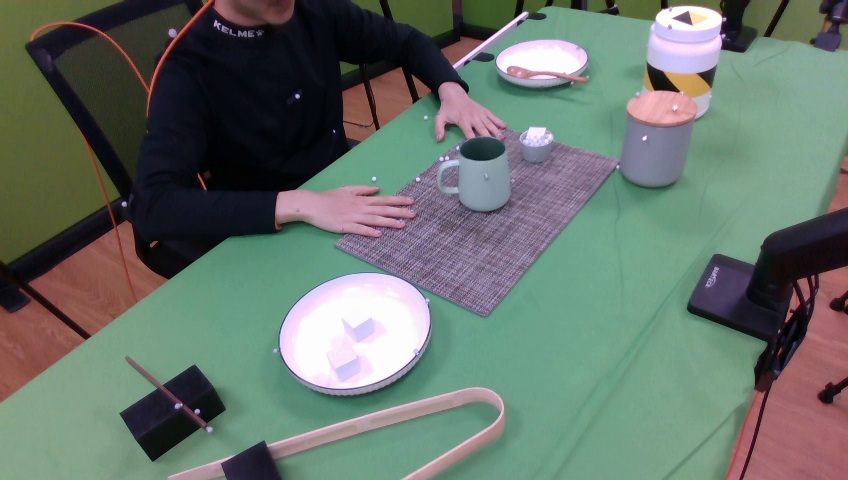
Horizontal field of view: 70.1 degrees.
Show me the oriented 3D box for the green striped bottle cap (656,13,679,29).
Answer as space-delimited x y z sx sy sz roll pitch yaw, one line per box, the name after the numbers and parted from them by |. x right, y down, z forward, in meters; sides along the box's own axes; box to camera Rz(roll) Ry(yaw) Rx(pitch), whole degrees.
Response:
0.515 -0.463 1.278 0.044 0.020 0.044 -6 42 6 | green striped bottle cap

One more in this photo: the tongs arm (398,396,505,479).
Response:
-0.071 0.272 0.652 0.386 0.026 0.050 -21 37 -17 | tongs arm

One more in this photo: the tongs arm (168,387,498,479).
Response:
-0.100 0.230 0.711 0.388 0.028 0.028 -13 32 -7 | tongs arm

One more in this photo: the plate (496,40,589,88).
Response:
0.268 -0.397 1.381 0.209 0.038 0.208 -4 41 4 | plate

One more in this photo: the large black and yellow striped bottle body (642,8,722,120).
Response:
0.493 -0.334 1.161 0.131 0.185 0.130 -4 41 4 | large black and yellow striped bottle body

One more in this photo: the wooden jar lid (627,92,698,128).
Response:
0.384 -0.207 0.980 0.108 0.021 0.108 -6 39 5 | wooden jar lid

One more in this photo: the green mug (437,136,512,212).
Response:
0.084 -0.107 1.013 0.125 0.105 0.092 -9 40 -3 | green mug

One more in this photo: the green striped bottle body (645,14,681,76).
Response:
0.520 -0.424 1.312 0.063 0.120 0.063 -4 41 4 | green striped bottle body

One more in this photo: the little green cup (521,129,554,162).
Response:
0.211 -0.175 1.124 0.061 0.039 0.061 -4 42 4 | little green cup

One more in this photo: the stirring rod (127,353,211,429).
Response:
-0.311 0.180 0.731 0.175 0.014 0.006 25 53 31 | stirring rod

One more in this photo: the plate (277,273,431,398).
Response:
-0.091 0.129 0.821 0.207 0.039 0.206 -4 40 4 | plate

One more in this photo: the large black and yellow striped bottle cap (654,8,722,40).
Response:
0.483 -0.397 1.108 0.115 0.019 0.114 -3 41 3 | large black and yellow striped bottle cap

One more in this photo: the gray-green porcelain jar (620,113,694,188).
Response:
0.390 -0.160 1.020 0.106 0.127 0.105 -4 41 4 | gray-green porcelain jar

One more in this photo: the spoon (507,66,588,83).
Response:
0.265 -0.357 1.311 0.192 0.022 0.042 18 48 38 | spoon
